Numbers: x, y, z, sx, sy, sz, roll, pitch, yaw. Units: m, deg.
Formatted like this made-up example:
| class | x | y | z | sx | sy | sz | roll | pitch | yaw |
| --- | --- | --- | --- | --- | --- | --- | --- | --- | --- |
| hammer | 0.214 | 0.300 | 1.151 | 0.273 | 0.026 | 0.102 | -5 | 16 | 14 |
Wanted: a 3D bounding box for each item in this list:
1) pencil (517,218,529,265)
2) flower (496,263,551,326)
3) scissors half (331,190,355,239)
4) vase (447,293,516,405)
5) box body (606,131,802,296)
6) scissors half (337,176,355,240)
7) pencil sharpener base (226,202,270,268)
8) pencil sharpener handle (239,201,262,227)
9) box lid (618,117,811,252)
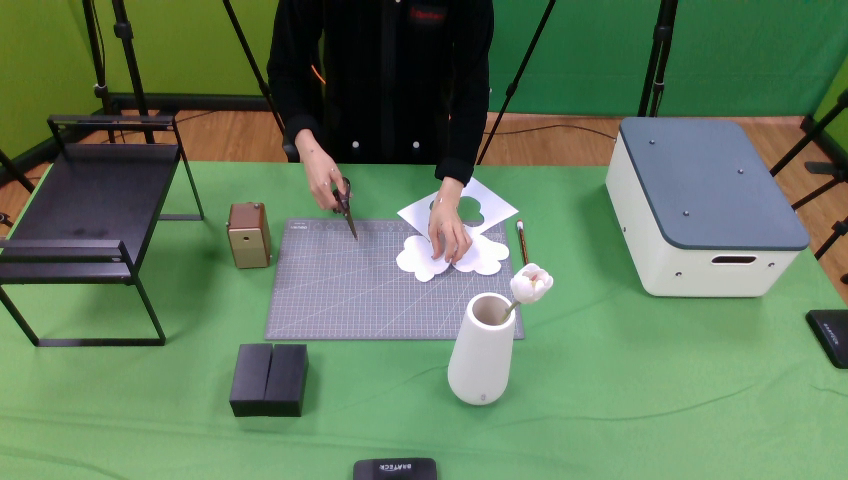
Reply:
| class | x | y | z | sx | sy | sz | roll | pitch | yaw |
| --- | --- | --- | --- | --- | --- | --- | --- | --- | --- |
| pencil | 0.201 | 0.028 | 1.197 | 0.012 | 0.012 | 0.193 | 1 | 48 | -4 |
| flower | 0.102 | 0.120 | 0.853 | 0.044 | 0.363 | 0.038 | -1 | 64 | -10 |
| scissors half | -0.154 | -0.047 | 1.156 | 0.013 | 0.040 | 0.174 | 14 | 23 | -29 |
| vase | 0.091 | 0.169 | 0.921 | 0.098 | 0.201 | 0.097 | 3 | 47 | -3 |
| box body | 0.530 | -0.067 | 1.204 | 0.254 | 0.161 | 0.361 | 0 | 46 | -4 |
| scissors half | -0.145 | -0.063 | 1.147 | 0.013 | 0.040 | 0.174 | 9 | 43 | -26 |
| pencil sharpener base | -0.323 | -0.010 | 1.123 | 0.061 | 0.107 | 0.076 | -3 | 46 | -7 |
| pencil sharpener handle | -0.325 | -0.056 | 1.150 | 0.036 | 0.068 | 0.030 | -13 | 46 | 4 |
| box lid | 0.534 | -0.117 | 1.149 | 0.263 | 0.015 | 0.369 | 0 | 47 | -3 |
